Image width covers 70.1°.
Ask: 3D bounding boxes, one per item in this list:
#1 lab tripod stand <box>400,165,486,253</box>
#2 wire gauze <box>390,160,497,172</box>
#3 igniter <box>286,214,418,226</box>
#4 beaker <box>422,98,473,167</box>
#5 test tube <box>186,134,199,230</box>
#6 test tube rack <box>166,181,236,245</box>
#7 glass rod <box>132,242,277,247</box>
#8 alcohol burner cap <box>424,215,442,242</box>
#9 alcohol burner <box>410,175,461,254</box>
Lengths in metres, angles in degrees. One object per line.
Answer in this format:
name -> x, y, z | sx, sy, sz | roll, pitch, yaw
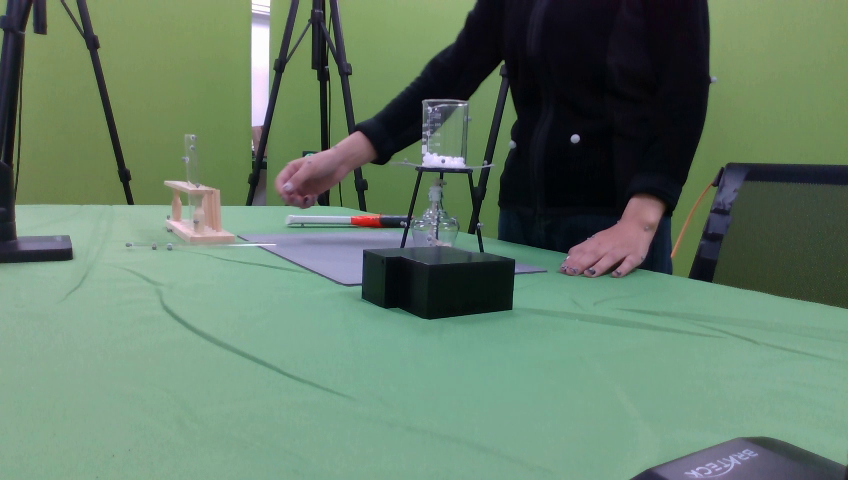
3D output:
lab tripod stand -> 0.027, -0.049, 0.930 | 0.148, 0.131, 0.148 | 3, 9, 0
wire gauze -> 0.028, -0.114, 0.920 | 0.122, 0.011, 0.124 | -5, 13, -34
igniter -> -0.145, -0.043, 1.262 | 0.278, 0.025, 0.057 | -1, -2, -25
beaker -> 0.031, -0.162, 0.919 | 0.074, 0.100, 0.083 | -4, 9, -36
test tube -> -0.360, -0.089, 0.946 | 0.017, 0.150, 0.017 | 0, 10, 0
test tube rack -> -0.383, -0.051, 1.024 | 0.067, 0.085, 0.241 | -2, 9, -31
glass rod -> -0.316, 0.007, 0.885 | 0.201, 0.008, 0.008 | 0, 7, -27
alcohol burner cap -> 0.017, -0.022, 1.098 | 0.034, 0.048, 0.034 | 1, 9, 0
alcohol burner -> 0.018, -0.040, 0.931 | 0.078, 0.119, 0.078 | 0, 7, 0
